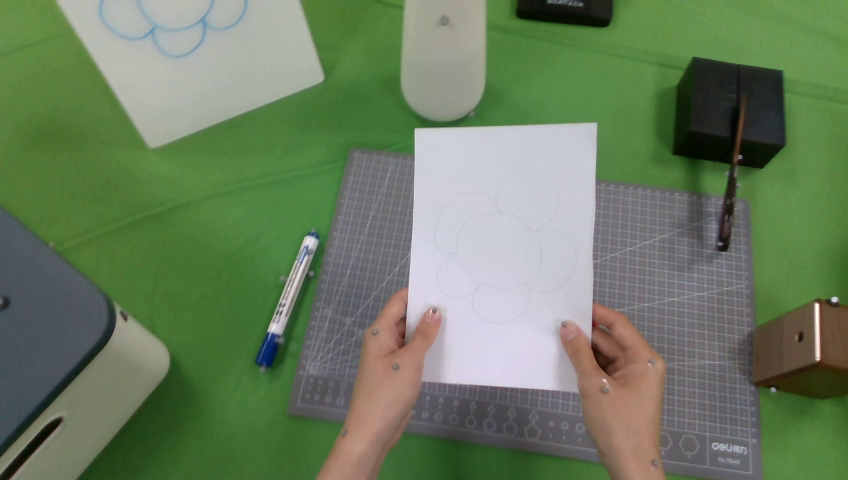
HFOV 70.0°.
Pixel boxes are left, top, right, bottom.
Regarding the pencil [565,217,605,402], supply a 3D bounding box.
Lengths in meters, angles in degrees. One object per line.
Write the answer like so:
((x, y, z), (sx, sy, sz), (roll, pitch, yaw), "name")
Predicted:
((0.166, 0.067, 0.620), (0.012, 0.012, 0.192), (-5, 70, -2), "pencil")

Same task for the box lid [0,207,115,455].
((-0.450, 0.052, 0.461), (0.370, 0.015, 0.262), (33, 71, 12), "box lid")

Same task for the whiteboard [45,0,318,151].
((-0.274, -0.290, 0.639), (0.217, 0.308, 0.142), (-25, 50, -9), "whiteboard")

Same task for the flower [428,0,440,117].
((0.007, -0.263, 0.563), (0.044, 0.365, 0.038), (1, 50, 4), "flower")

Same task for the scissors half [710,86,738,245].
((0.322, -0.080, 0.644), (0.012, 0.040, 0.175), (8, 87, 28), "scissors half")

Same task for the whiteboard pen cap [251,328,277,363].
((-0.156, 0.103, 0.597), (0.018, 0.018, 0.033), (14, 64, 6), "whiteboard pen cap")

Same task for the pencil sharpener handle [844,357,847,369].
((0.410, 0.103, 0.543), (0.030, 0.068, 0.035), (12, 62, 2), "pencil sharpener handle")

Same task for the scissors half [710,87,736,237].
((0.314, -0.085, 0.626), (0.013, 0.040, 0.174), (9, 69, 23), "scissors half")

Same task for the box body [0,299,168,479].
((-0.448, 0.082, 0.529), (0.362, 0.161, 0.253), (33, 72, 12), "box body")

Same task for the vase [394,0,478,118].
((0.012, -0.217, 0.635), (0.098, 0.201, 0.097), (0, 66, 1), "vase")

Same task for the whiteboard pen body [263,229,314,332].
((-0.142, 0.051, 0.620), (0.017, 0.017, 0.140), (14, 66, 6), "whiteboard pen body")

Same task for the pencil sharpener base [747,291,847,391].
((0.360, 0.096, 0.555), (0.077, 0.107, 0.061), (12, 67, 1), "pencil sharpener base")
